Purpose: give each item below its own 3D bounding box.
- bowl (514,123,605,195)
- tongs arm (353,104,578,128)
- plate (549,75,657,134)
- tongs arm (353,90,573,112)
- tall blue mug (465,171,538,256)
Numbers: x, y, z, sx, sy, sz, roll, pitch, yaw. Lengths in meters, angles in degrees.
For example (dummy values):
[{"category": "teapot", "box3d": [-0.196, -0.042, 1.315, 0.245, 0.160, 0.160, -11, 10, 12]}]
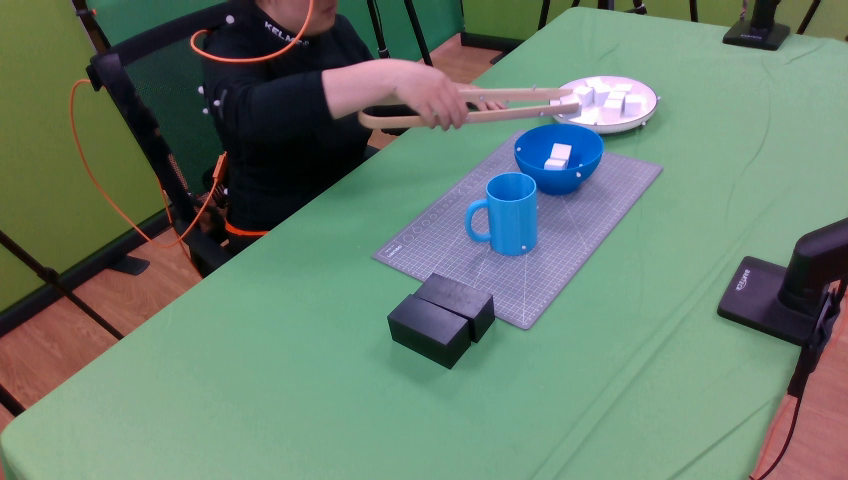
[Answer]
[{"category": "bowl", "box3d": [0.232, -0.131, 1.046, 0.151, 0.077, 0.150, -5, 40, 5]}, {"category": "tongs arm", "box3d": [0.074, -0.216, 1.038, 0.388, 0.028, 0.028, -4, 61, -6]}, {"category": "plate", "box3d": [0.357, -0.269, 1.220, 0.209, 0.038, 0.208, -5, 41, 5]}, {"category": "tongs arm", "box3d": [0.072, -0.236, 1.051, 0.385, 0.026, 0.050, 0, 57, -4]}, {"category": "tall blue mug", "box3d": [0.125, -0.033, 0.925, 0.107, 0.108, 0.077, -32, 46, -25]}]
